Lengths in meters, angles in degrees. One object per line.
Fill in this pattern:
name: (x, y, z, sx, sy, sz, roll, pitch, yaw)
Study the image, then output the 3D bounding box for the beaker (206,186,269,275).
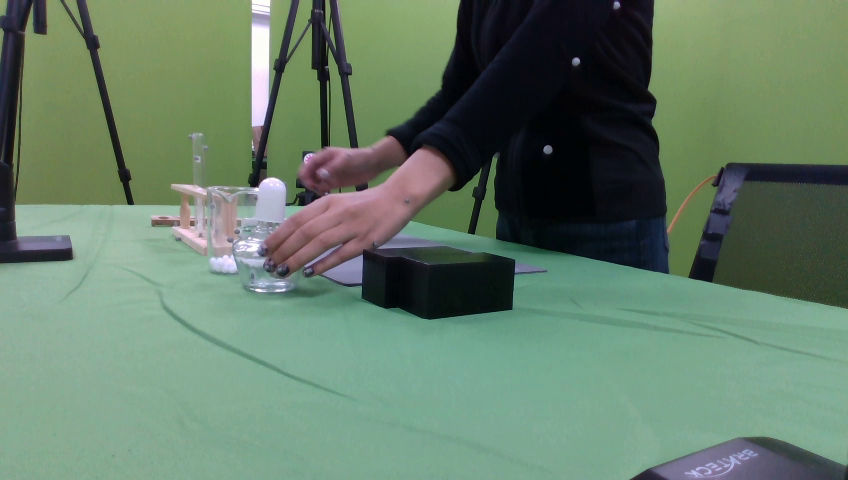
beaker: (-0.220, -0.012, 0.717, 0.074, 0.100, 0.084, 2, 8, -3)

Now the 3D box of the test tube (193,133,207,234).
test tube: (-0.335, -0.084, 0.904, 0.017, 0.150, 0.017, -1, 1, 0)

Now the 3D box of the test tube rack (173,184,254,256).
test tube rack: (-0.328, -0.036, 0.927, 0.067, 0.085, 0.241, -2, 9, -32)

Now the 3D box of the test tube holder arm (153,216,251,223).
test tube holder arm: (-0.422, -0.039, 1.159, 0.179, 0.015, 0.013, -2, 43, -31)

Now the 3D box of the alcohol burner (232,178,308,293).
alcohol burner: (-0.161, -0.005, 0.632, 0.078, 0.119, 0.078, 1, 9, 0)

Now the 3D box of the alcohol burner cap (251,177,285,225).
alcohol burner cap: (-0.160, -0.041, 0.628, 0.034, 0.048, 0.034, 9, 7, -1)

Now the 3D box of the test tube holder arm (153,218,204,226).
test tube holder arm: (-0.459, -0.034, 1.132, 0.088, 0.015, 0.010, -1, 43, -30)

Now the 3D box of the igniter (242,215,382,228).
igniter: (-0.212, -0.036, 1.187, 0.278, 0.025, 0.057, -2, -2, -31)
